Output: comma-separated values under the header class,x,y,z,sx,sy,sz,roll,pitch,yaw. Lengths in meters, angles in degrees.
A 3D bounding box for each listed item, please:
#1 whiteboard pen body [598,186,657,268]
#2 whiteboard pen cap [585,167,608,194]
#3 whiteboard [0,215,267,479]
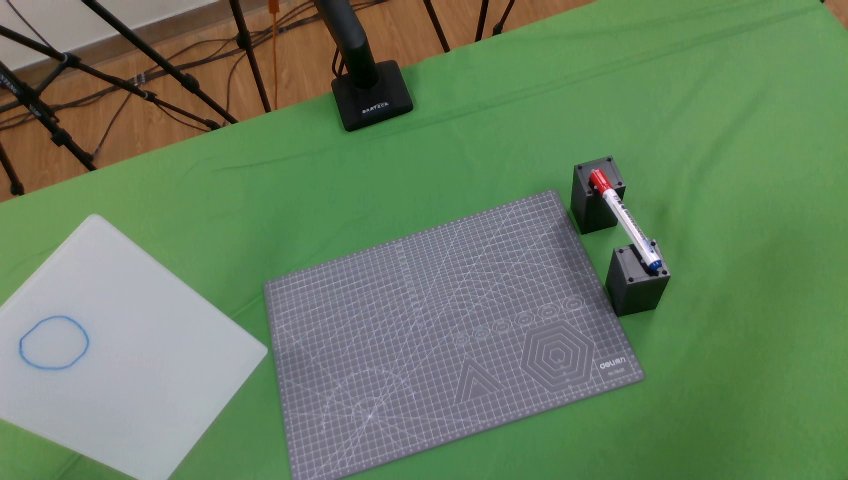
class,x,y,z,sx,sy,sz,roll,pitch,yaw
whiteboard pen body,0.237,-0.026,0.728,0.017,0.017,0.139,-22,61,-2
whiteboard pen cap,0.216,-0.074,0.757,0.017,0.017,0.032,-22,62,-2
whiteboard,-0.386,0.128,0.738,0.142,0.309,0.216,20,66,41
